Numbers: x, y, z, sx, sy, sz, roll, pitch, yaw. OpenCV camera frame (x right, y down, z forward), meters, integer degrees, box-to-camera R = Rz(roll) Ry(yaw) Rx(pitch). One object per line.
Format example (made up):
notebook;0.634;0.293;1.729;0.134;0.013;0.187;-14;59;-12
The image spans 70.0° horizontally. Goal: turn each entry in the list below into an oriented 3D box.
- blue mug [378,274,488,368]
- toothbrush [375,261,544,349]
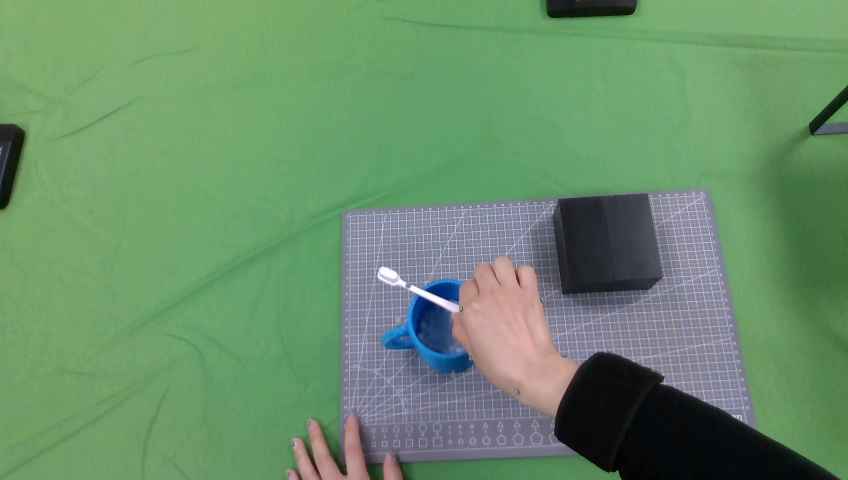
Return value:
blue mug;0.009;0.093;0.649;0.116;0.106;0.082;-12;71;-1
toothbrush;0.033;0.063;0.594;0.181;0.017;0.014;25;56;8
